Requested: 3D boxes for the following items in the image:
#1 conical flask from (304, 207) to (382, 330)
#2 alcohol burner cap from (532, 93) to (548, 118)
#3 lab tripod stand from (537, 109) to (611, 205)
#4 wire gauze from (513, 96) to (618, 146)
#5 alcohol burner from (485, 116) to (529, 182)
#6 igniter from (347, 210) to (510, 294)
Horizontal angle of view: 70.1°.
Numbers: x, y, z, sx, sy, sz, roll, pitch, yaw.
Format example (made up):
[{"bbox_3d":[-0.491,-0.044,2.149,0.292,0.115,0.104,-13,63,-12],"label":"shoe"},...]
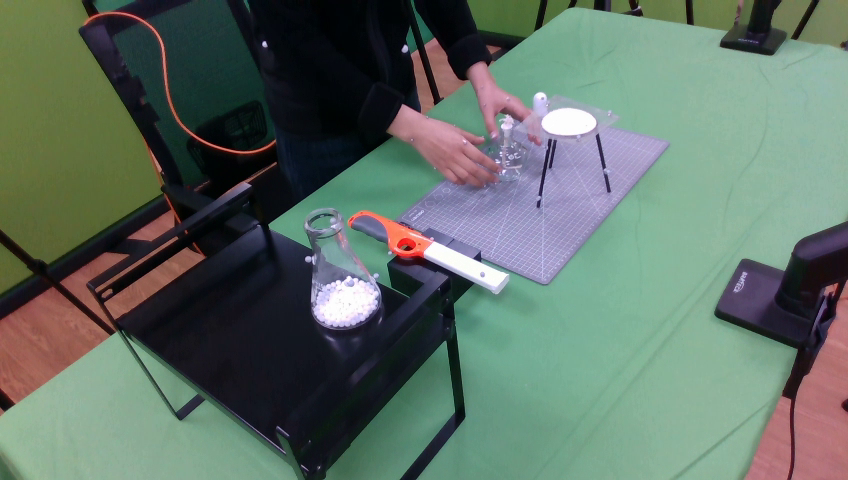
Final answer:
[{"bbox_3d":[-0.088,0.025,0.601,0.075,0.122,0.075,-5,40,5],"label":"conical flask"},{"bbox_3d":[0.240,-0.281,1.251,0.034,0.048,0.033,-4,42,4],"label":"alcohol burner cap"},{"bbox_3d":[0.244,-0.141,1.014,0.148,0.132,0.147,-3,39,3],"label":"lab tripod stand"},{"bbox_3d":[0.229,-0.190,0.969,0.120,0.011,0.125,26,50,33],"label":"wire gauze"},{"bbox_3d":[0.147,-0.165,1.072,0.078,0.119,0.077,-4,38,4],"label":"alcohol burner"},{"bbox_3d":[-0.002,0.012,0.884,0.274,0.025,0.057,24,53,28],"label":"igniter"}]
